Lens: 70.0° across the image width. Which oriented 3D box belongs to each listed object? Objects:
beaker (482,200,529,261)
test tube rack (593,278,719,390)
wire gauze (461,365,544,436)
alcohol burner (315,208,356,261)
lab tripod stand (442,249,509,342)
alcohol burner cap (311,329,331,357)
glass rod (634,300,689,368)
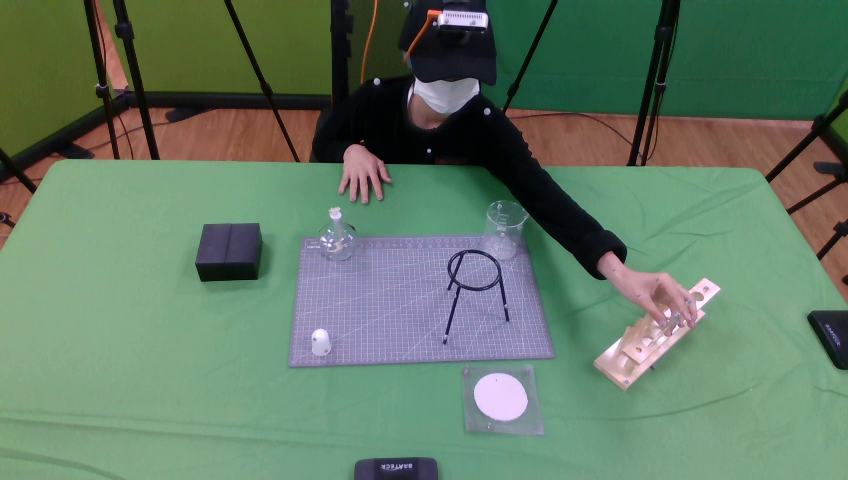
[{"bbox_3d":[0.153,-0.015,1.169,0.084,0.101,0.073,-2,46,-7],"label":"beaker"},{"bbox_3d":[0.401,0.148,1.043,0.242,0.085,0.066,-30,55,-29],"label":"test tube rack"},{"bbox_3d":[0.124,0.254,0.973,0.125,0.011,0.120,3,47,-3],"label":"wire gauze"},{"bbox_3d":[-0.166,-0.017,1.134,0.078,0.120,0.077,2,48,-2],"label":"alcohol burner"},{"bbox_3d":[0.082,0.091,1.036,0.148,0.132,0.147,3,44,-3],"label":"lab tripod stand"},{"bbox_3d":[-0.173,0.168,1.004,0.034,0.048,0.033,2,46,-2],"label":"alcohol burner cap"},{"bbox_3d":[0.366,0.152,0.944,0.008,0.200,0.008,4,50,-5],"label":"glass rod"}]
